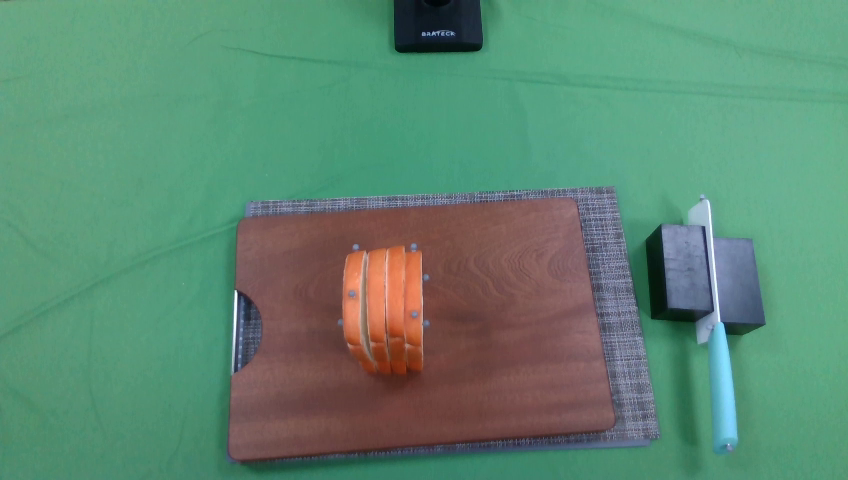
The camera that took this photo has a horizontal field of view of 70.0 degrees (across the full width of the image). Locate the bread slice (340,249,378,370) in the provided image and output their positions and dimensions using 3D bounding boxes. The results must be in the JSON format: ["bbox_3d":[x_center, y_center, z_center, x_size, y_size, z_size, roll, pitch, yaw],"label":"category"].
[{"bbox_3d":[-0.063,0.066,0.605,0.019,0.132,0.104,-3,68,3],"label":"bread slice"}]

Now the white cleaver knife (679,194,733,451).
[{"bbox_3d":[0.311,0.085,0.673,0.021,0.066,0.284,6,70,-3],"label":"white cleaver knife"}]

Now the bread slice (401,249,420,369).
[{"bbox_3d":[-0.014,0.069,0.603,0.018,0.135,0.106,-1,73,-2],"label":"bread slice"}]
